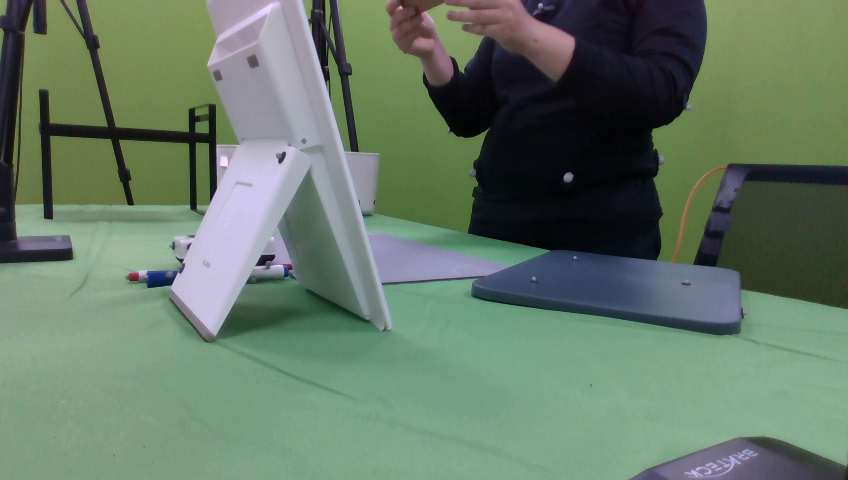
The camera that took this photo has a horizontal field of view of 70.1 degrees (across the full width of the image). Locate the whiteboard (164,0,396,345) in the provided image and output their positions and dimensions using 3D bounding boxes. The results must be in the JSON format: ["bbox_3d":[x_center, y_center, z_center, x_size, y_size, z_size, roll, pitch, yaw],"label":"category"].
[{"bbox_3d":[-0.173,-0.053,0.511,0.144,0.305,0.216,-23,19,-26],"label":"whiteboard"}]

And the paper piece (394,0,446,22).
[{"bbox_3d":[-0.037,-0.407,0.940,0.138,0.008,0.135,48,-9,-24],"label":"paper piece"}]

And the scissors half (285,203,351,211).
[{"bbox_3d":[-0.269,-0.081,1.534,0.176,0.013,0.040,-7,10,-23],"label":"scissors half"}]

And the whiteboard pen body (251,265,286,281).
[{"bbox_3d":[-0.220,0.039,0.656,0.141,0.017,0.017,-2,9,-31],"label":"whiteboard pen body"}]

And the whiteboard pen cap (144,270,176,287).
[{"bbox_3d":[-0.271,0.039,0.627,0.033,0.018,0.018,-4,10,-32],"label":"whiteboard pen cap"}]

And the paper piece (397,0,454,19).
[{"bbox_3d":[-0.022,-0.419,0.948,0.004,0.136,0.134,-51,28,-21],"label":"paper piece"}]

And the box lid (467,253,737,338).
[{"bbox_3d":[0.234,0.055,0.736,0.262,0.015,0.373,7,8,26],"label":"box lid"}]

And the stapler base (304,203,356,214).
[{"bbox_3d":[-0.235,-0.081,1.510,0.131,0.024,0.041,2,9,-35],"label":"stapler base"}]

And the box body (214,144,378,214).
[{"bbox_3d":[-0.328,-0.154,1.543,0.366,0.160,0.253,-2,9,-32],"label":"box body"}]

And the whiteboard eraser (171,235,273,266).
[{"bbox_3d":[-0.248,0.014,0.747,0.113,0.042,0.055,-1,10,-32],"label":"whiteboard eraser"}]

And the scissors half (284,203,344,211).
[{"bbox_3d":[-0.280,-0.083,1.552,0.176,0.013,0.040,-10,6,-44],"label":"scissors half"}]

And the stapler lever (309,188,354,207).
[{"bbox_3d":[-0.231,-0.106,1.509,0.119,0.040,0.026,3,9,-35],"label":"stapler lever"}]

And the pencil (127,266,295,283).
[{"bbox_3d":[-0.231,0.037,0.691,0.195,0.012,0.012,-2,9,-34],"label":"pencil"}]
